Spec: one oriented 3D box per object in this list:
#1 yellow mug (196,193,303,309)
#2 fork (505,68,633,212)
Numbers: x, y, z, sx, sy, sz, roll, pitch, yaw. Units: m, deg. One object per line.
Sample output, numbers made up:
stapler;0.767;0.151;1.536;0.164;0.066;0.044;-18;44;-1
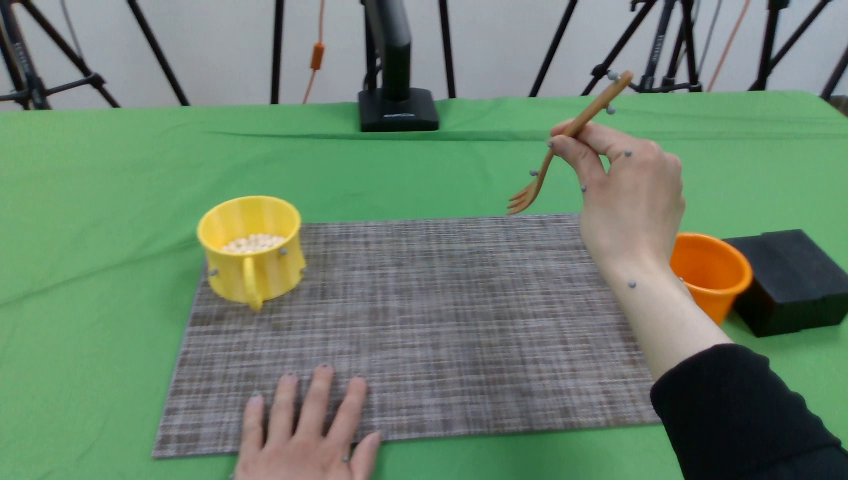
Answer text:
yellow mug;-0.177;0.015;0.622;0.100;0.064;0.129;-6;41;-11
fork;0.110;-0.074;0.498;0.018;0.208;0.028;22;63;-4
